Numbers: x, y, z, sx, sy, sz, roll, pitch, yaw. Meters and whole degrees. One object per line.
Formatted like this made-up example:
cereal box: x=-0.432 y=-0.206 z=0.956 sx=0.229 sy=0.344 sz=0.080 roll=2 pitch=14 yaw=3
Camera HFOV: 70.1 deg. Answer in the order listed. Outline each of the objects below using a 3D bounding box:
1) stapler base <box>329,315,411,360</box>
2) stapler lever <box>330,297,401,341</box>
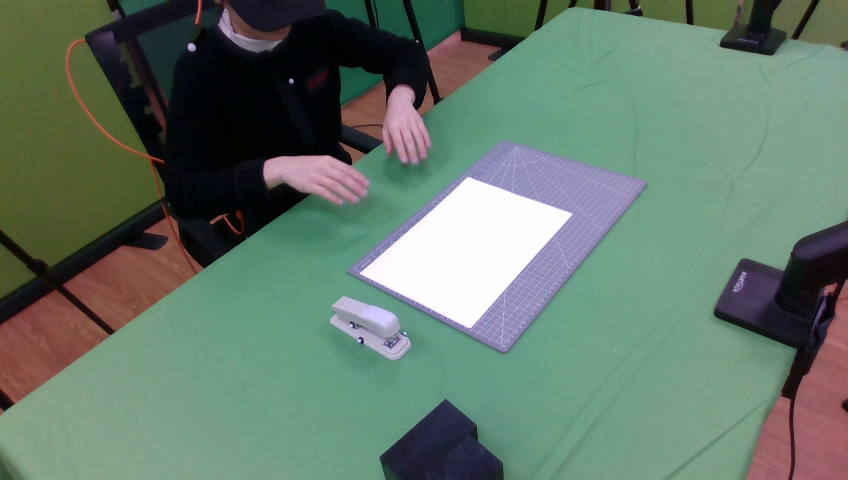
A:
stapler base: x=-0.077 y=0.122 z=0.841 sx=0.129 sy=0.024 sz=0.041 roll=22 pitch=46 yaw=33
stapler lever: x=-0.081 y=0.102 z=0.825 sx=0.117 sy=0.040 sz=0.027 roll=22 pitch=46 yaw=33
